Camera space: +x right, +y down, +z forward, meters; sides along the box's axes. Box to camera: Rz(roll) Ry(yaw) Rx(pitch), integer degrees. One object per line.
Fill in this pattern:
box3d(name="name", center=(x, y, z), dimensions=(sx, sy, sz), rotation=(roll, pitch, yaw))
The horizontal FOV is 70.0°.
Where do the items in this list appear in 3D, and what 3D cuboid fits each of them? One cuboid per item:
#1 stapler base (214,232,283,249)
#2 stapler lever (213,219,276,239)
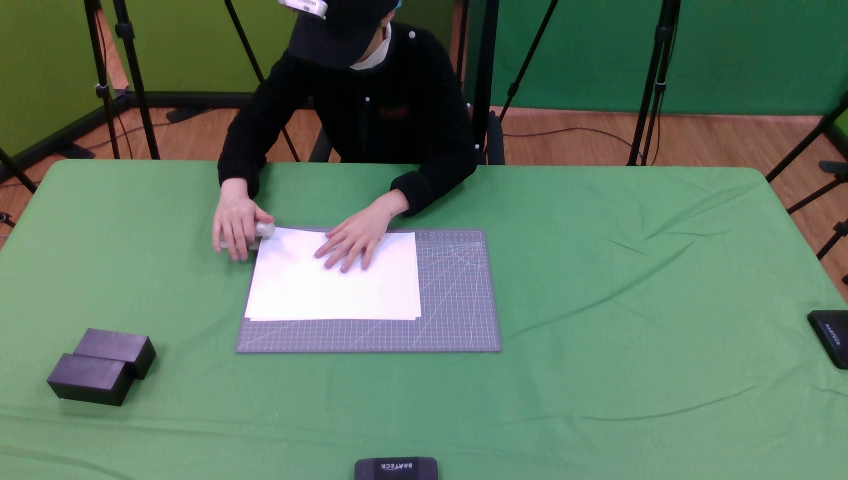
box3d(name="stapler base", center=(-0.341, -0.006, 1.172), dimensions=(0.130, 0.024, 0.041), rotation=(1, 44, 3))
box3d(name="stapler lever", center=(-0.342, -0.022, 1.154), dimensions=(0.118, 0.040, 0.026), rotation=(3, 44, 2))
